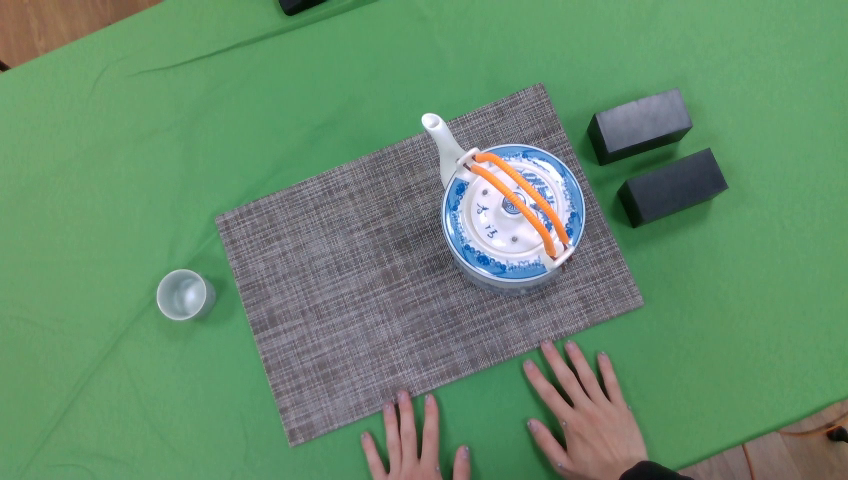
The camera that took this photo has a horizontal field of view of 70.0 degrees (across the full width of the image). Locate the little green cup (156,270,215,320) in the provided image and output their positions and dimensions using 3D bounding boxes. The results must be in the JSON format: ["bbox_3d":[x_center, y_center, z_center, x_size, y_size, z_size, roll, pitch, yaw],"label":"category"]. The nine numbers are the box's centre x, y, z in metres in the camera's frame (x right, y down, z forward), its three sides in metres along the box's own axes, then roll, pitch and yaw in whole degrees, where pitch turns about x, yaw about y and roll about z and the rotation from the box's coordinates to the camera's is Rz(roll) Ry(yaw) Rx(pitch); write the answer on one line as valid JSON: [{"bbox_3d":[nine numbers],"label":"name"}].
[{"bbox_3d":[-0.290,0.069,0.744,0.061,0.039,0.061,-1,79,6],"label":"little green cup"}]

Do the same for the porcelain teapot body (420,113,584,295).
[{"bbox_3d":[0.069,-0.044,0.630,0.145,0.226,0.204,-45,79,-3],"label":"porcelain teapot body"}]

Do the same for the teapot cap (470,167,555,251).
[{"bbox_3d":[0.086,-0.032,0.586,0.085,0.044,0.085,-1,77,4],"label":"teapot cap"}]
